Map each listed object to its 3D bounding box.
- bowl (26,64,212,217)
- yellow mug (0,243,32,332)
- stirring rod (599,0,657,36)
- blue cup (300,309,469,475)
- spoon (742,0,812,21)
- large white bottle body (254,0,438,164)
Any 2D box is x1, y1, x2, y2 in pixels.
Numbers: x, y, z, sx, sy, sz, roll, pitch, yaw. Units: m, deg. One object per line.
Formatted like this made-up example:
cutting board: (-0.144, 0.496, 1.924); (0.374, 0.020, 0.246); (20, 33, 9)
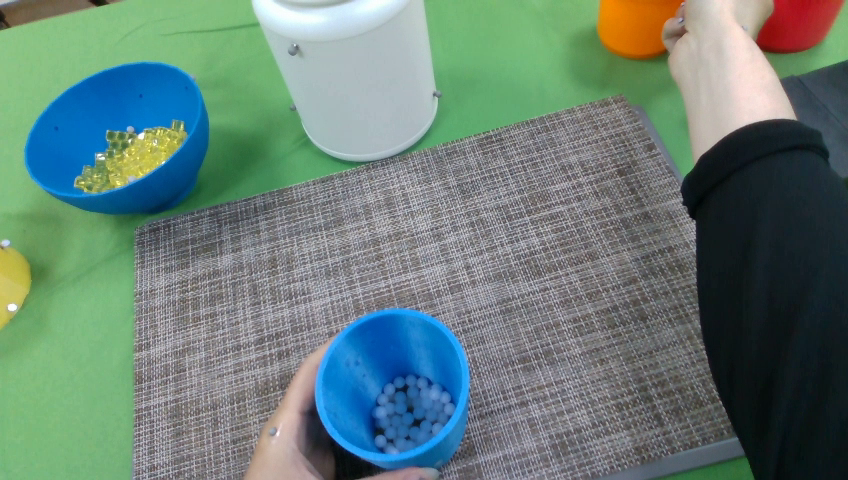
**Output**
bowl: (-0.249, -0.073, 0.531); (0.151, 0.077, 0.150); (-3, 57, 6)
yellow mug: (-0.387, 0.045, 0.482); (0.100, 0.064, 0.129); (-5, 58, 5)
stirring rod: (0.228, -0.231, 0.530); (0.176, 0.006, 0.014); (-27, 45, 44)
blue cup: (-0.011, 0.102, 0.368); (0.092, 0.101, 0.092); (-4, 58, 7)
spoon: (0.359, -0.221, 0.500); (0.041, 0.022, 0.193); (-53, 21, -21)
large white bottle body: (-0.060, -0.168, 0.500); (0.130, 0.186, 0.129); (-3, 57, 6)
